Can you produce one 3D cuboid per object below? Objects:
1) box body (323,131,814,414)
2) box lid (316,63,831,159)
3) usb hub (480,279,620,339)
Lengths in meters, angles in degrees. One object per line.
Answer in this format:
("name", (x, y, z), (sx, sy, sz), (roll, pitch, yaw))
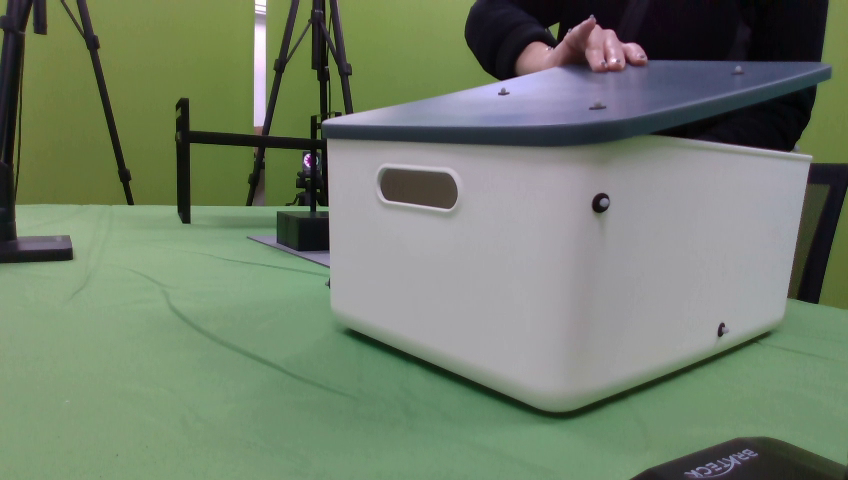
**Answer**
("box body", (0.125, -0.002, 0.509), (0.366, 0.160, 0.253), (-4, 10, -42))
("box lid", (0.129, -0.117, 0.489), (0.373, 0.015, 0.262), (-21, 25, -37))
("usb hub", (0.111, 0.057, 0.524), (0.126, 0.025, 0.049), (-6, 13, -35))
